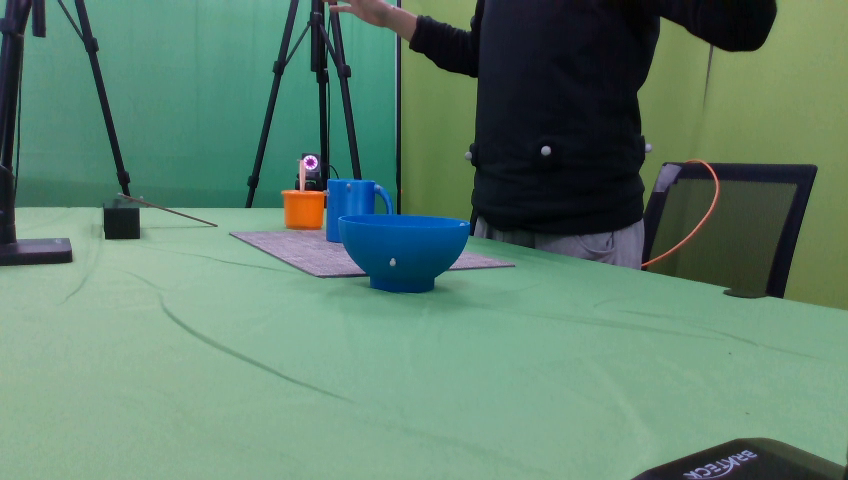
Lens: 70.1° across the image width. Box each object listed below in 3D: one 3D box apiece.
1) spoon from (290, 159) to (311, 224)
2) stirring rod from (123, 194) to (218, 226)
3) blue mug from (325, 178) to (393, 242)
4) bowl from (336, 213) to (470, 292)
[{"bbox_3d":[-0.256,-0.104,1.265,0.042,0.193,0.021,0,-37,-9],"label":"spoon"},{"bbox_3d":[-0.480,-0.056,1.153,0.177,0.006,0.014,20,-5,-29],"label":"stirring rod"},{"bbox_3d":[-0.111,-0.052,1.034,0.116,0.106,0.082,3,7,7],"label":"blue mug"},{"bbox_3d":[-0.025,0.013,0.685,0.151,0.077,0.151,2,7,0],"label":"bowl"}]
